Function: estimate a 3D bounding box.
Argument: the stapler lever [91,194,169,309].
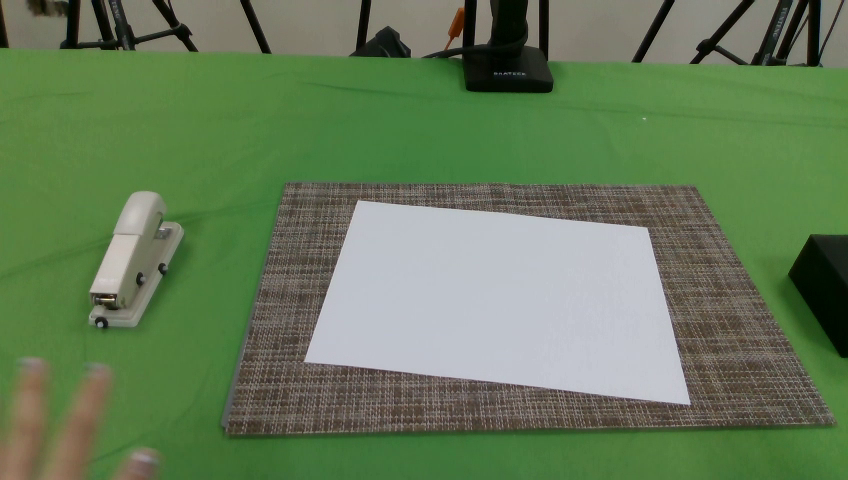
[{"bbox_3d":[-0.252,0.006,0.523,0.027,0.040,0.117,2,42,2],"label":"stapler lever"}]

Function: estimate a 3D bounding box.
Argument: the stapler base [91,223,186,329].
[{"bbox_3d":[-0.254,0.023,0.541,0.041,0.024,0.129,2,43,1],"label":"stapler base"}]
